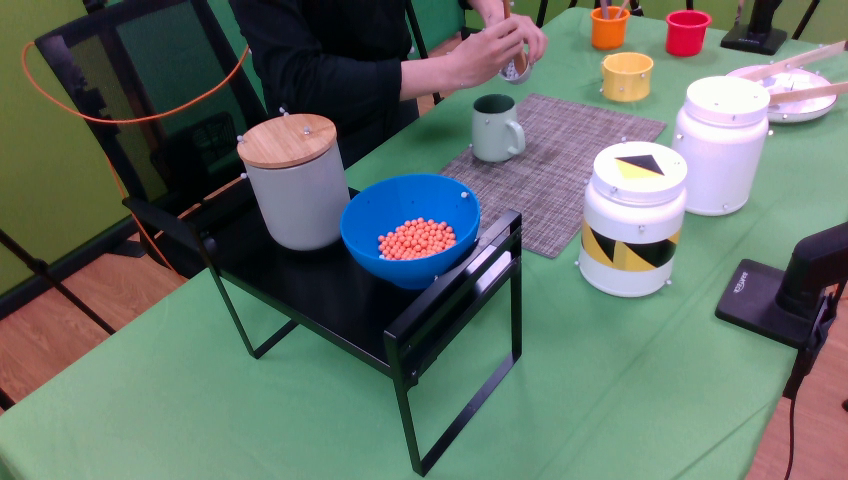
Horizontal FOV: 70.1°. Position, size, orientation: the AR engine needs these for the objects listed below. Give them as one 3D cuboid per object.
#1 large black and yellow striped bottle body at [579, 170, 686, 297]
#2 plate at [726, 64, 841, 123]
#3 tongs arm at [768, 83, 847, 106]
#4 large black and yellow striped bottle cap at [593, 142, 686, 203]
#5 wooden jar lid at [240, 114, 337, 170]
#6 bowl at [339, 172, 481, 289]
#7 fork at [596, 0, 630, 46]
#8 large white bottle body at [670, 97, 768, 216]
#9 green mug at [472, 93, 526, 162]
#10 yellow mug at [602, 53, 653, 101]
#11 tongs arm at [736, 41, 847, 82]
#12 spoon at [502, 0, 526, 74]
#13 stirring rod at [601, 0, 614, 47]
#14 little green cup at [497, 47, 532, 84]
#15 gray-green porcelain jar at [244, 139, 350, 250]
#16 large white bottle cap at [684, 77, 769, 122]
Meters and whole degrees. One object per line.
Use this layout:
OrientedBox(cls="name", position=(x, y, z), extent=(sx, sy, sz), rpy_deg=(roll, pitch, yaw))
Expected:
OrientedBox(cls="large black and yellow striped bottle body", position=(0.287, -0.027, 0.841), extent=(0.131, 0.185, 0.130), rpy_deg=(-4, 40, 4))
OrientedBox(cls="plate", position=(0.695, -0.282, 1.189), extent=(0.207, 0.039, 0.206), rpy_deg=(-4, 40, 4))
OrientedBox(cls="tongs arm", position=(0.738, -0.281, 1.134), extent=(0.388, 0.028, 0.028), rpy_deg=(-9, 47, -5))
OrientedBox(cls="large black and yellow striped bottle cap", position=(0.280, -0.090, 0.786), extent=(0.115, 0.019, 0.114), rpy_deg=(-5, 41, 5))
OrientedBox(cls="wooden jar lid", position=(-0.149, -0.106, 0.673), extent=(0.108, 0.021, 0.108), rpy_deg=(-6, 39, 5))
OrientedBox(cls="bowl", position=(-0.011, 0.001, 0.660), extent=(0.151, 0.077, 0.150), rpy_deg=(-5, 41, 5))
OrientedBox(cls="fork", position=(0.481, -0.556, 1.452), extent=(0.028, 0.019, 0.207), rpy_deg=(40, 103, 39))
OrientedBox(cls="large white bottle body", position=(0.458, -0.146, 0.952), extent=(0.130, 0.185, 0.130), rpy_deg=(-4, 40, 4))
OrientedBox(cls="green mug", position=(0.144, -0.202, 1.122), extent=(0.093, 0.105, 0.124), rpy_deg=(-29, 45, -23))
OrientedBox(cls="yellow mug", position=(0.423, -0.354, 1.292), extent=(0.100, 0.064, 0.129), rpy_deg=(-23, 42, -16))
OrientedBox(cls="tongs arm", position=(0.712, -0.332, 1.194), extent=(0.386, 0.026, 0.050), rpy_deg=(-19, 45, -16))
OrientedBox(cls="spoon", position=(0.149, -0.346, 1.013), extent=(0.021, 0.195, 0.041), rpy_deg=(-28, 63, 8))
OrientedBox(cls="stirring rod", position=(0.439, -0.552, 1.463), extent=(0.014, 0.006, 0.175), rpy_deg=(-7, 83, 3))
OrientedBox(cls="little green cup", position=(0.167, -0.315, 1.100), extent=(0.061, 0.039, 0.061), rpy_deg=(-2, 84, 23))
OrientedBox(cls="gray-green porcelain jar", position=(-0.143, -0.060, 0.714), extent=(0.106, 0.127, 0.105), rpy_deg=(-4, 41, 4))
OrientedBox(cls="large white bottle cap", position=(0.448, -0.210, 0.898), extent=(0.115, 0.018, 0.114), rpy_deg=(-4, 40, 4))
